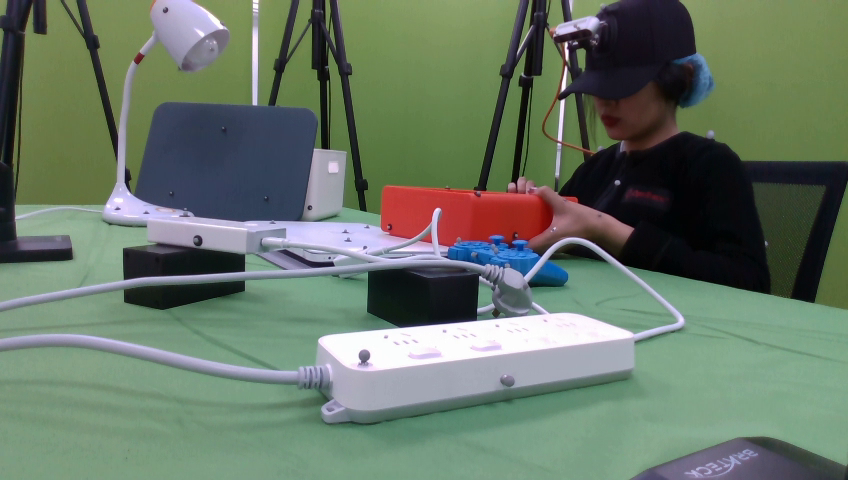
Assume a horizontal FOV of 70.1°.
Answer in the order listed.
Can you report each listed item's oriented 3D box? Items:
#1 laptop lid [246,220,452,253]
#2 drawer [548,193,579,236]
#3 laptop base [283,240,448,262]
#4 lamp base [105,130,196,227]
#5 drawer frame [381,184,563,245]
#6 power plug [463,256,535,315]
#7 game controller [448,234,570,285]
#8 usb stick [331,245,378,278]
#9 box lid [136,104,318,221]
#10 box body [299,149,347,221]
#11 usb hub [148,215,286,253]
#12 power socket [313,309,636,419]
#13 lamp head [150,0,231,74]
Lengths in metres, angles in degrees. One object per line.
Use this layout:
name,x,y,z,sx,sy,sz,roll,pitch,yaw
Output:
laptop lid,-0.123,-0.009,0.945,0.243,0.013,0.355,1,7,-29
drawer,0.116,-0.046,1.003,0.213,0.073,0.193,-3,8,-42
laptop base,-0.125,0.002,0.945,0.237,0.023,0.352,1,6,-31
lamp base,-0.532,-0.120,1.153,0.179,0.180,0.161,1,7,8
drawer frame,0.076,-0.044,0.964,0.215,0.082,0.200,-3,10,-44
power plug,0.064,0.039,0.530,0.072,0.052,0.035,31,43,7
game controller,0.099,0.021,0.755,0.097,0.051,0.154,-7,10,-29
usb stick,-0.085,0.026,0.701,0.059,0.027,0.021,-18,18,27
box lid,-0.411,-0.162,1.266,0.371,0.263,0.015,3,-15,9
box body,-0.384,-0.137,1.407,0.364,0.160,0.254,3,8,7
usb hub,-0.197,-0.006,0.575,0.125,0.025,0.050,6,6,22
power socket,0.039,0.072,0.384,0.228,0.032,0.072,-2,7,-28
lamp head,-0.432,-0.374,1.086,0.123,0.112,0.112,42,8,-3
